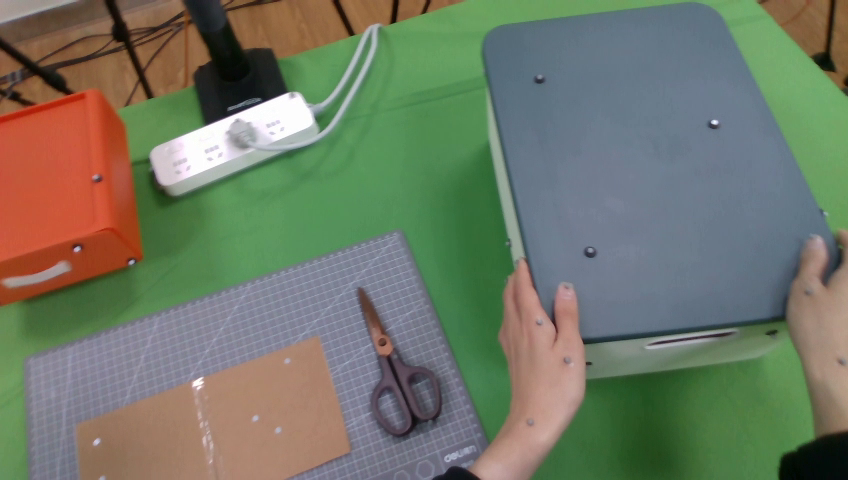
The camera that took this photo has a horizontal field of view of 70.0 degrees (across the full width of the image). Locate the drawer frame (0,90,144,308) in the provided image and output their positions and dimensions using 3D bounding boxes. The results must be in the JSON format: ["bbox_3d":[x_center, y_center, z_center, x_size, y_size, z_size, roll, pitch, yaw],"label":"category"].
[{"bbox_3d":[-0.438,-0.045,0.686,0.202,0.083,0.211,-19,60,-5],"label":"drawer frame"}]

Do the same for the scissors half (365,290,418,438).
[{"bbox_3d":[-0.045,0.129,0.654,0.040,0.013,0.173,-28,61,20],"label":"scissors half"}]

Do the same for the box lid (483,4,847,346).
[{"bbox_3d":[0.209,-0.083,0.575,0.263,0.015,0.368,-7,61,0],"label":"box lid"}]

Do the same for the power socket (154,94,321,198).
[{"bbox_3d":[-0.242,-0.124,0.794,0.227,0.033,0.071,-24,63,-9],"label":"power socket"}]

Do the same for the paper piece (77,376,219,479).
[{"bbox_3d":[-0.281,0.226,0.614,0.136,0.009,0.137,-21,63,-4],"label":"paper piece"}]

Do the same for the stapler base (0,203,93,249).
[{"bbox_3d":[-0.445,-0.018,0.692,0.130,0.024,0.041,8,78,12],"label":"stapler base"}]

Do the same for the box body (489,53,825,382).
[{"bbox_3d":[0.214,-0.048,0.641,0.254,0.162,0.360,-7,61,0],"label":"box body"}]

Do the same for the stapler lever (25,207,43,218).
[{"bbox_3d":[-0.452,-0.024,0.667,0.118,0.040,0.026,7,78,13],"label":"stapler lever"}]

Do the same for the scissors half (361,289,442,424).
[{"bbox_3d":[-0.028,0.118,0.649,0.040,0.013,0.173,-41,59,7],"label":"scissors half"}]

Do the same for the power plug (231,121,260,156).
[{"bbox_3d":[-0.223,-0.117,0.762,0.035,0.053,0.072,-15,61,-4],"label":"power plug"}]

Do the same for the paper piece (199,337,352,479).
[{"bbox_3d":[-0.157,0.181,0.629,0.135,0.004,0.134,-19,62,-6],"label":"paper piece"}]

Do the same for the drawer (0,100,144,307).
[{"bbox_3d":[-0.435,-0.044,0.685,0.194,0.074,0.209,-18,61,-5],"label":"drawer"}]
